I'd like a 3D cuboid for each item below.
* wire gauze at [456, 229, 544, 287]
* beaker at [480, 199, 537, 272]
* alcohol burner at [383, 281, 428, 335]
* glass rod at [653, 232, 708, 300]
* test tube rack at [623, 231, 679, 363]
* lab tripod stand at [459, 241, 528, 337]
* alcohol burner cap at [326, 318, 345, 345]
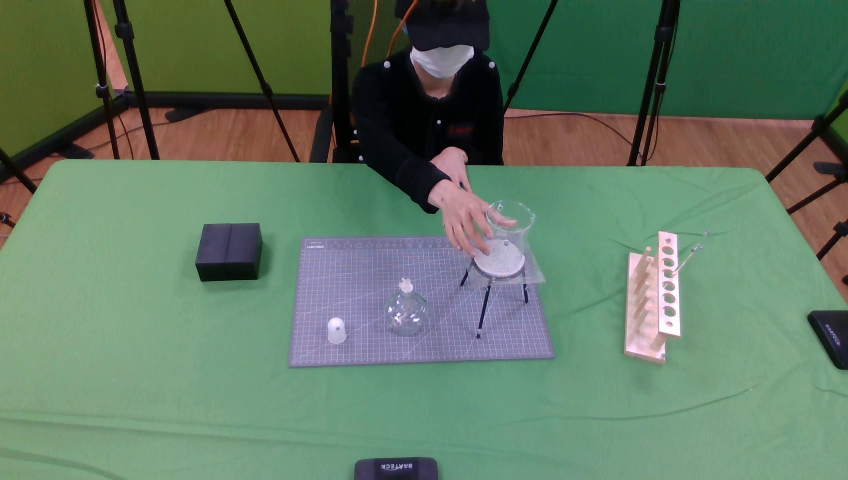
[{"bbox_3d":[0.125,0.030,1.008,0.125,0.011,0.120,-2,48,-11],"label":"wire gauze"},{"bbox_3d":[0.132,-0.004,0.973,0.084,0.101,0.073,-4,47,-10],"label":"beaker"},{"bbox_3d":[-0.030,0.108,1.024,0.078,0.119,0.077,2,48,-2],"label":"alcohol burner"},{"bbox_3d":[0.441,0.049,1.050,0.008,0.200,0.008,4,52,-5],"label":"glass rod"},{"bbox_3d":[0.410,0.094,1.096,0.066,0.085,0.241,13,46,9],"label":"test tube rack"},{"bbox_3d":[0.122,0.075,1.054,0.148,0.132,0.147,3,44,-3],"label":"lab tripod stand"},{"bbox_3d":[-0.149,0.151,1.023,0.034,0.048,0.033,3,46,-3],"label":"alcohol burner cap"}]
